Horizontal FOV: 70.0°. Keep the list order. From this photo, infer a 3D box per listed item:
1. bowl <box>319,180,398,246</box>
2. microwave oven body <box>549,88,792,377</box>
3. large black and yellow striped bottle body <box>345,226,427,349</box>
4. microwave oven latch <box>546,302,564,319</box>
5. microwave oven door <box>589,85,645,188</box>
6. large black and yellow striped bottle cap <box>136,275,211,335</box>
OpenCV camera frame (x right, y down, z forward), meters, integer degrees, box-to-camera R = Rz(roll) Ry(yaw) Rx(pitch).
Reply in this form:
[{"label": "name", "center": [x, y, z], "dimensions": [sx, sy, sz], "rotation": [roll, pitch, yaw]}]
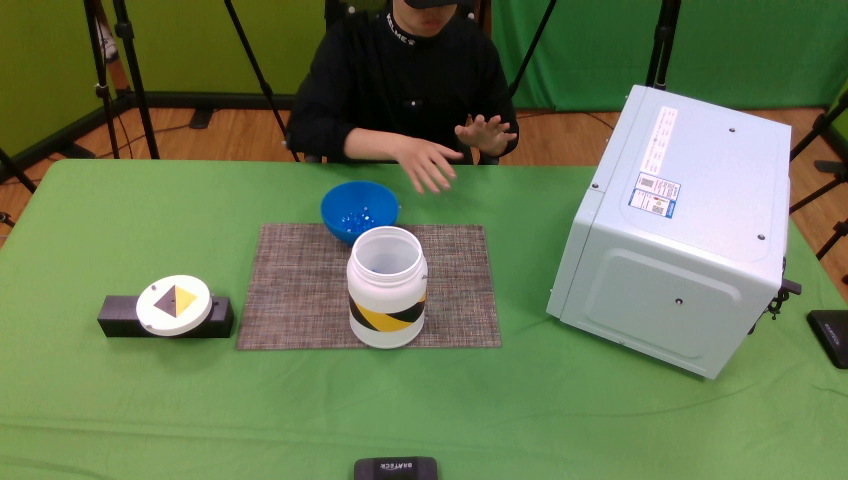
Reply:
[{"label": "bowl", "center": [-0.126, -0.039, 1.181], "dimensions": [0.151, 0.077, 0.150], "rotation": [3, 46, -2]}, {"label": "microwave oven body", "center": [0.456, -0.028, 1.088], "dimensions": [0.325, 0.261, 0.440], "rotation": [20, 47, 16]}, {"label": "large black and yellow striped bottle body", "center": [-0.062, 0.078, 0.998], "dimensions": [0.131, 0.185, 0.130], "rotation": [2, 46, -2]}, {"label": "microwave oven latch", "center": [0.242, 0.102, 1.081], "dimensions": [0.030, 0.029, 0.079], "rotation": [21, 48, 17]}, {"label": "microwave oven door", "center": [0.342, -0.107, 1.149], "dimensions": [0.039, 0.245, 0.354], "rotation": [20, 48, 15]}, {"label": "large black and yellow striped bottle cap", "center": [-0.412, 0.105, 0.999], "dimensions": [0.115, 0.019, 0.114], "rotation": [3, 46, -3]}]
